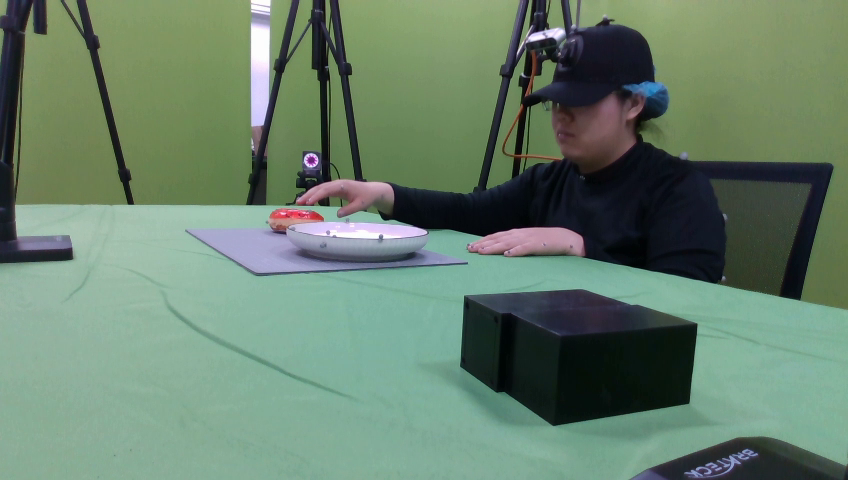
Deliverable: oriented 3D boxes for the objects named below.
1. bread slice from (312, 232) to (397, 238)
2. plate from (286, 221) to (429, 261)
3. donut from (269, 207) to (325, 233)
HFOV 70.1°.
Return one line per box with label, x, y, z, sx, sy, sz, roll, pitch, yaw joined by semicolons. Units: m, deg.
bread slice;-0.101;0.002;0.885;0.135;0.018;0.106;-3;8;-38
plate;-0.096;0.001;0.886;0.209;0.038;0.209;2;7;0
donut;-0.230;-0.035;1.098;0.099;0.048;0.099;3;5;0
